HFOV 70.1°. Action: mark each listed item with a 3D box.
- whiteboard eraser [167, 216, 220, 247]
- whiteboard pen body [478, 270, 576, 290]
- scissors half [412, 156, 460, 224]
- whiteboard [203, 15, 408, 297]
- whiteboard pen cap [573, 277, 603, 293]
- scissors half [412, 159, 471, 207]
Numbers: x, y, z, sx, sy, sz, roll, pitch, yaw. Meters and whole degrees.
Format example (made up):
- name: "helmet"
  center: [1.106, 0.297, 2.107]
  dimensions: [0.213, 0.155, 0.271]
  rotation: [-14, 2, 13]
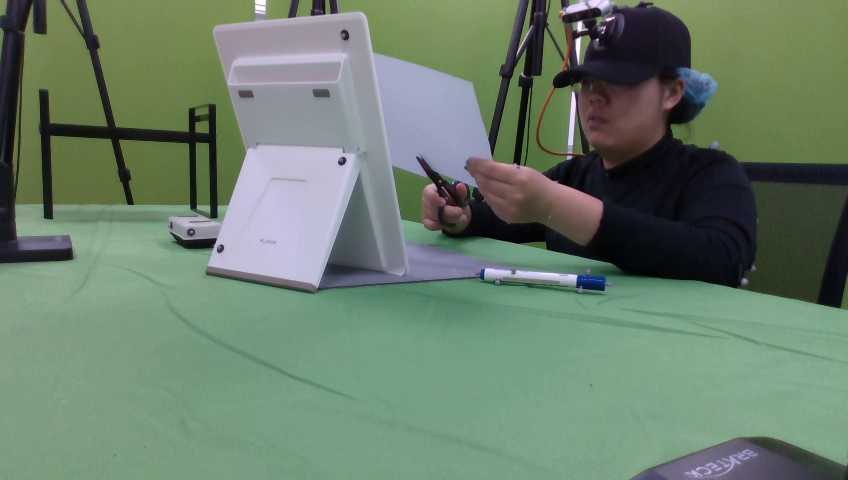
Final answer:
- name: "whiteboard eraser"
  center: [-0.350, -0.013, 0.920]
  dimensions: [0.056, 0.042, 0.112]
  rotation: [0, 7, -35]
- name: "whiteboard pen body"
  center: [0.131, 0.047, 0.706]
  dimensions: [0.140, 0.017, 0.017]
  rotation: [4, 7, 18]
- name: "scissors half"
  center: [0.019, -0.077, 0.968]
  dimensions: [0.013, 0.040, 0.176]
  rotation: [22, -21, 37]
- name: "whiteboard"
  center: [-0.166, -0.072, 0.668]
  dimensions: [0.216, 0.305, 0.144]
  rotation: [8, 30, 30]
- name: "whiteboard pen cap"
  center: [0.186, 0.051, 0.687]
  dimensions: [0.033, 0.018, 0.018]
  rotation: [5, 8, 17]
- name: "scissors half"
  center: [0.029, -0.094, 0.971]
  dimensions: [0.012, 0.040, 0.176]
  rotation: [29, 2, 37]
